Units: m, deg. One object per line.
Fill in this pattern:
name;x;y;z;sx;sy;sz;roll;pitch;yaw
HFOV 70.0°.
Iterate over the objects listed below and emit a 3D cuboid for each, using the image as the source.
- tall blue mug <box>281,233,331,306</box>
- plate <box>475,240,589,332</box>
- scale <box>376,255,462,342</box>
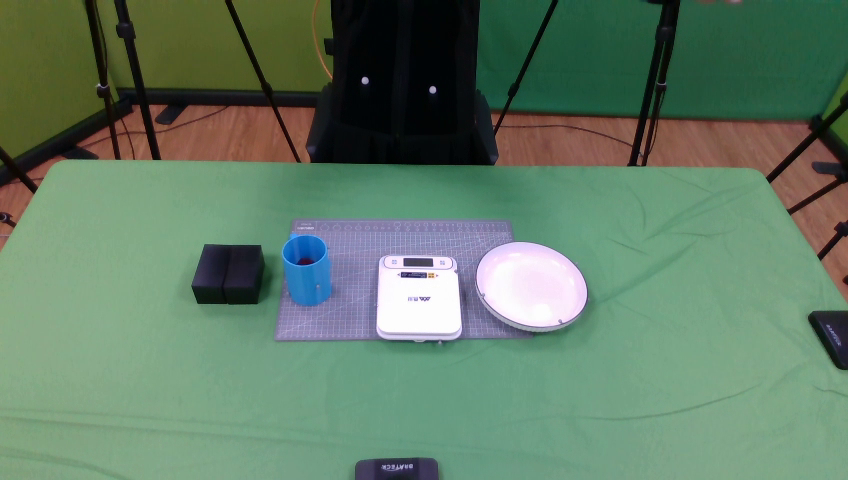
tall blue mug;-0.219;0.046;1.073;0.107;0.108;0.077;28;52;21
plate;0.195;0.087;1.112;0.209;0.038;0.208;3;46;-3
scale;-0.010;0.096;1.094;0.149;0.032;0.199;2;46;-3
